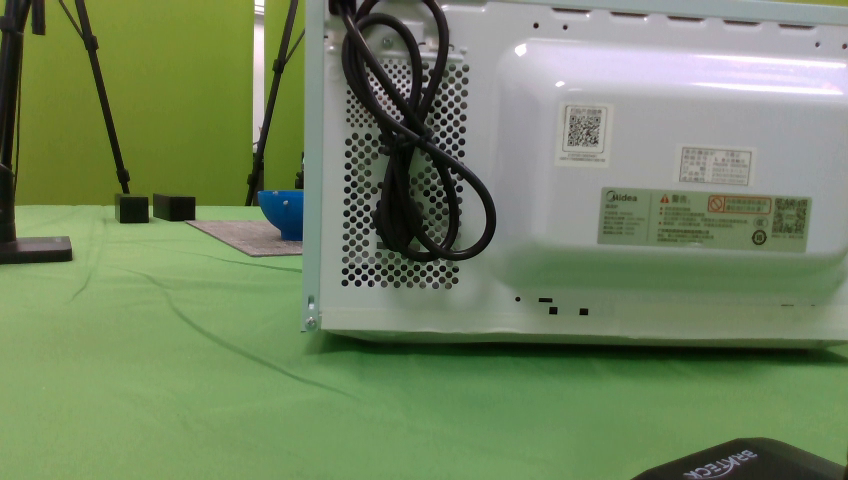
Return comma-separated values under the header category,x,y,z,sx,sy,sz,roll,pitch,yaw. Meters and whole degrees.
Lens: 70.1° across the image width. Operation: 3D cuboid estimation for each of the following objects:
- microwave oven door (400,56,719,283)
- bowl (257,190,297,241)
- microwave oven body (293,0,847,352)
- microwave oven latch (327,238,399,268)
category,x,y,z,sx,sy,sz,roll,pitch,yaw
microwave oven door,0.155,-0.077,0.697,0.356,0.243,0.039,2,8,-5
bowl,-0.206,-0.041,1.027,0.151,0.077,0.151,3,8,0
microwave oven body,0.122,-0.055,0.550,0.442,0.260,0.325,3,7,-5
microwave oven latch,-0.069,0.015,0.694,0.079,0.029,0.030,3,7,-3
